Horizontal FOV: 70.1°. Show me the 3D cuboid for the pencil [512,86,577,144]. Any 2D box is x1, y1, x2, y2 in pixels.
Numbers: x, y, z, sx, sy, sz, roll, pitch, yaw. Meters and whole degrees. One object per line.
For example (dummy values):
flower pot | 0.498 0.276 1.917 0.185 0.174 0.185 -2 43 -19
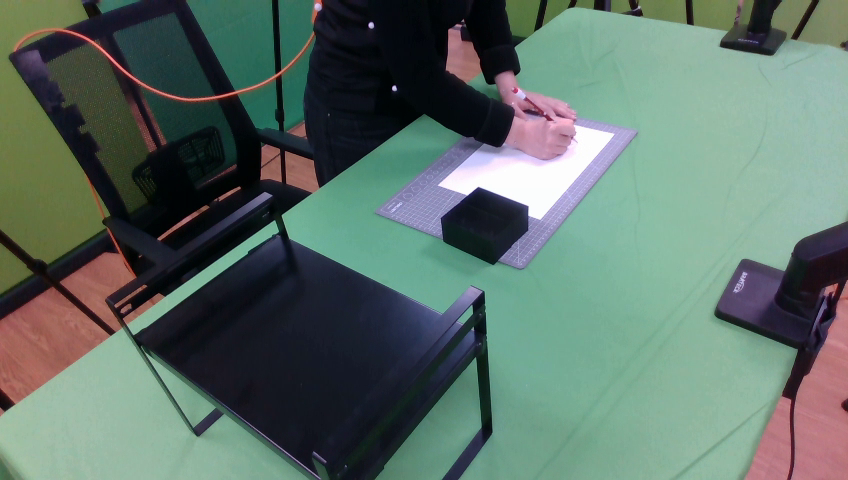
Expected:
pencil | 0.224 -0.225 1.103 0.012 0.196 0.012 -30 46 36
